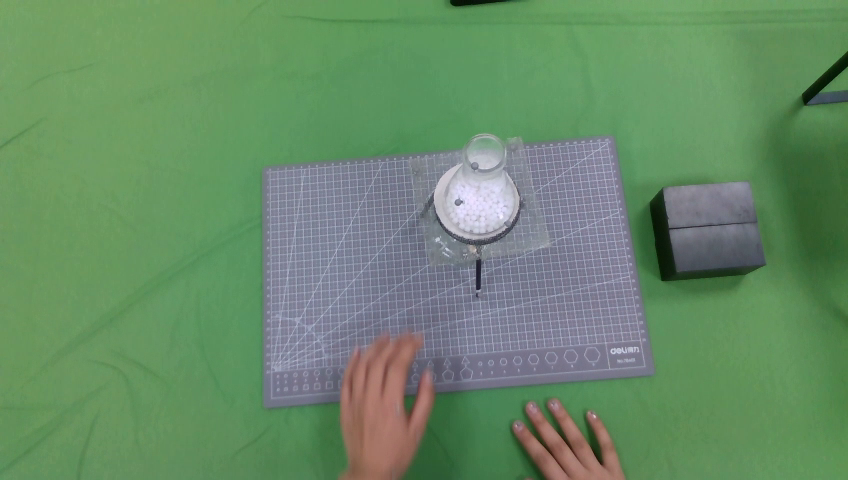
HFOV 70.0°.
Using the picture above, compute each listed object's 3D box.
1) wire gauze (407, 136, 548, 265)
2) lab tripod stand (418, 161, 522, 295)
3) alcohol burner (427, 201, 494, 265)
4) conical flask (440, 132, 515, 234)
[{"bbox_3d":[0.053,-0.040,0.615,0.125,0.011,0.121,-10,77,-4],"label":"wire gauze"},{"bbox_3d":[0.058,-0.025,0.678,0.148,0.132,0.147,0,73,2],"label":"lab tripod stand"},{"bbox_3d":[0.042,-0.013,0.686,0.078,0.119,0.077,0,74,1],"label":"alcohol burner"},{"bbox_3d":[0.051,-0.056,0.557,0.075,0.122,0.075,-1,74,2],"label":"conical flask"}]
